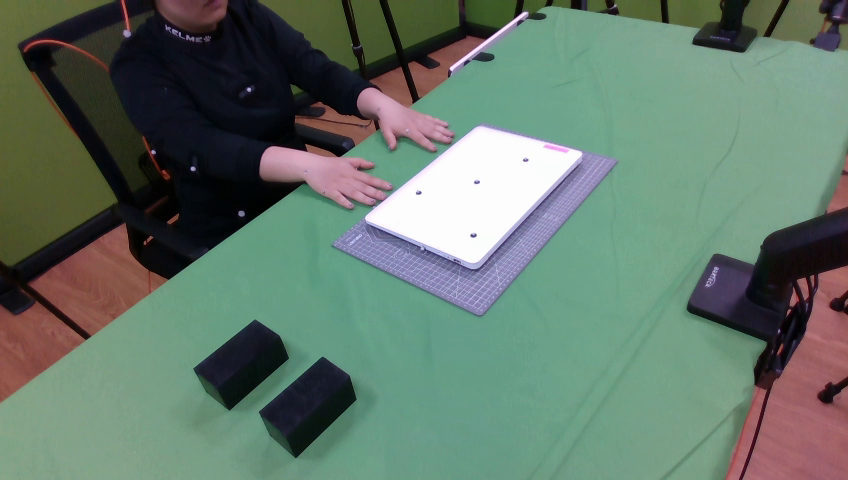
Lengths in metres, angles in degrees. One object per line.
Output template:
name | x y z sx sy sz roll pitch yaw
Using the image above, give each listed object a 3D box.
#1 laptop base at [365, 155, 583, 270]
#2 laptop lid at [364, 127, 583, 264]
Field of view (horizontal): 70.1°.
laptop base | 0.095 -0.086 1.060 0.233 0.023 0.355 20 47 33
laptop lid | 0.092 -0.096 1.053 0.239 0.013 0.358 23 48 34
